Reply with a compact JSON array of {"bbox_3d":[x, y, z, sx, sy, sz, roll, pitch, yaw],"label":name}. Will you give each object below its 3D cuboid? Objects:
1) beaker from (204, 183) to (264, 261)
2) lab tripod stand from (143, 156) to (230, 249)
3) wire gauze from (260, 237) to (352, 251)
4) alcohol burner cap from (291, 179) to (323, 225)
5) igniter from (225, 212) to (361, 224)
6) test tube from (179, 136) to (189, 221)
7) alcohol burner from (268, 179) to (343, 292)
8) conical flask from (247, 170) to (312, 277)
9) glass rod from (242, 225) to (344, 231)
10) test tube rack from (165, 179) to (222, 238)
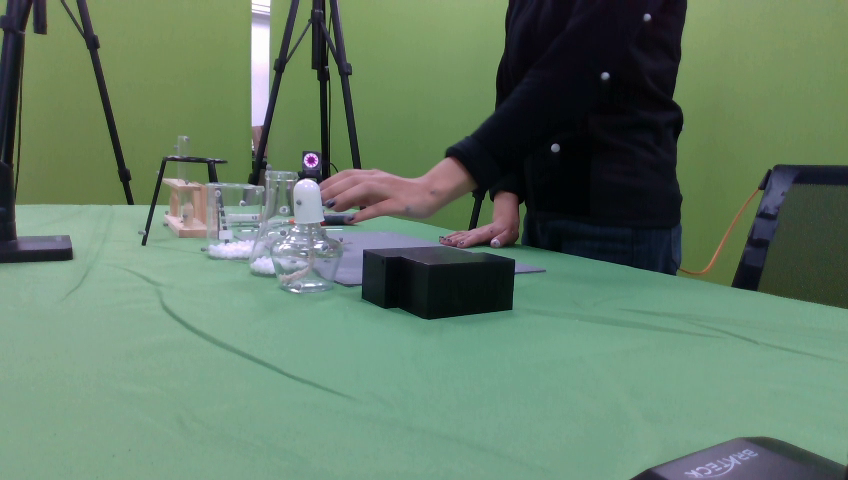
[{"bbox_3d":[-0.254,-0.026,0.817,0.073,0.100,0.084,9,9,39],"label":"beaker"},{"bbox_3d":[-0.338,-0.058,0.908,0.148,0.131,0.148,4,7,0],"label":"lab tripod stand"},{"bbox_3d":[-0.184,0.004,0.938,0.122,0.011,0.124,-1,5,-24],"label":"wire gauze"},{"bbox_3d":[-0.124,-0.040,0.632,0.034,0.048,0.034,-3,10,1],"label":"alcohol burner cap"},{"bbox_3d":[-0.262,-0.044,1.240,0.278,0.025,0.057,-2,-1,-31],"label":"igniter"},{"bbox_3d":[-0.425,-0.108,1.070,0.017,0.150,0.017,4,9,0],"label":"test tube"},{"bbox_3d":[-0.124,-0.005,0.637,0.078,0.119,0.078,4,8,0],"label":"alcohol burner"},{"bbox_3d":[-0.170,-0.021,0.717,0.075,0.122,0.075,2,7,0],"label":"conical flask"},{"bbox_3d":[-0.246,-0.023,1.154,0.201,0.008,0.008,-2,8,-31],"label":"glass rod"},{"bbox_3d":[-0.423,-0.062,1.098,0.067,0.085,0.241,-2,9,-28],"label":"test tube rack"}]
